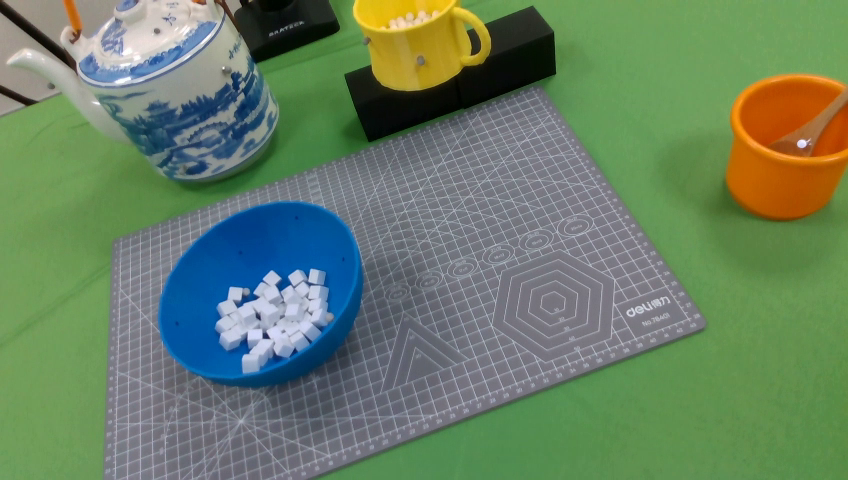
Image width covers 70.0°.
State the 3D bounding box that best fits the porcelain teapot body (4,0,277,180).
[{"bbox_3d":[-0.271,-0.163,0.568,0.205,0.228,0.143,-16,53,3],"label":"porcelain teapot body"}]

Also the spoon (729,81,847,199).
[{"bbox_3d":[0.298,-0.103,0.427,0.022,0.194,0.041,7,43,-38],"label":"spoon"}]

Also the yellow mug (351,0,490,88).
[{"bbox_3d":[0.002,-0.196,0.560,0.130,0.064,0.099,19,62,25],"label":"yellow mug"}]

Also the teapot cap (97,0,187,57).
[{"bbox_3d":[-0.252,-0.193,0.535,0.085,0.044,0.084,-8,54,12],"label":"teapot cap"}]

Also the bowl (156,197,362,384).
[{"bbox_3d":[-0.112,0.049,0.460,0.151,0.077,0.150,-7,53,9],"label":"bowl"}]
